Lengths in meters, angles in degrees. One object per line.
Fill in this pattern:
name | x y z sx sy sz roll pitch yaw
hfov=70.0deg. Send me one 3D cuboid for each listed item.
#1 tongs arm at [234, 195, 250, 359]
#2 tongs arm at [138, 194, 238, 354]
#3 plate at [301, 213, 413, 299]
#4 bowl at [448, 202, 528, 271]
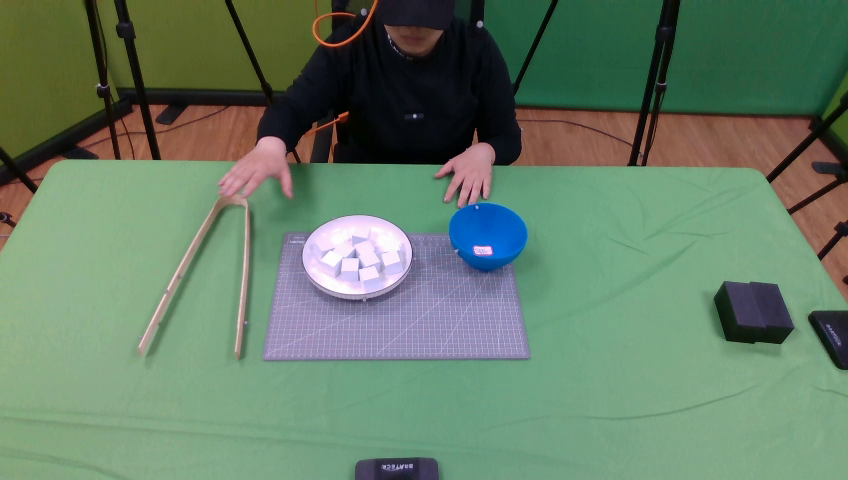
tongs arm | -0.339 0.052 1.118 0.028 0.028 0.385 -7 47 -7
tongs arm | -0.421 0.047 1.111 0.051 0.026 0.382 6 45 0
plate | -0.124 0.033 1.143 0.208 0.039 0.206 2 46 -2
bowl | 0.118 0.006 1.160 0.151 0.077 0.150 2 46 -2
